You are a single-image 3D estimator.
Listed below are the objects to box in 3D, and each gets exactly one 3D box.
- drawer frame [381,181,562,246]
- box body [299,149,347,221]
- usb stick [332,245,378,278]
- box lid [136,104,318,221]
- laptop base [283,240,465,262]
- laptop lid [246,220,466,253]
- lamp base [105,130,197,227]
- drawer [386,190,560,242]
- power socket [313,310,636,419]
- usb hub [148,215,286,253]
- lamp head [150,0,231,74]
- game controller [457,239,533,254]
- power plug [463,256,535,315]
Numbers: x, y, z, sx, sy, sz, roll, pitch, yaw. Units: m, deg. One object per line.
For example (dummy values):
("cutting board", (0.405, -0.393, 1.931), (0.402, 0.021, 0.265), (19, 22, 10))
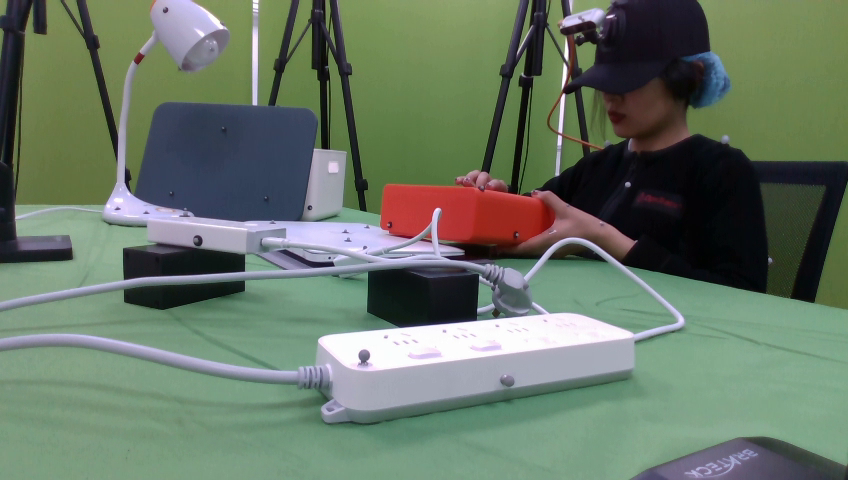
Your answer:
("drawer frame", (0.077, -0.041, 0.968), (0.200, 0.082, 0.215), (7, 3, 44))
("box body", (-0.384, -0.137, 1.407), (0.364, 0.160, 0.254), (3, 8, 7))
("usb stick", (-0.085, 0.026, 0.701), (0.059, 0.027, 0.021), (-18, 19, 27))
("box lid", (-0.411, -0.162, 1.266), (0.371, 0.263, 0.015), (3, -15, 9))
("laptop base", (-0.125, 0.002, 0.945), (0.237, 0.023, 0.352), (2, 6, -31))
("laptop lid", (-0.123, -0.009, 0.945), (0.243, 0.013, 0.355), (1, 7, -29))
("lamp base", (-0.532, -0.120, 1.153), (0.179, 0.180, 0.161), (1, 7, 8))
("drawer", (0.078, -0.040, 0.972), (0.213, 0.073, 0.193), (3, 2, -45))
("power socket", (0.039, 0.072, 0.384), (0.228, 0.032, 0.072), (-2, 7, -28))
("usb hub", (-0.197, -0.006, 0.575), (0.125, 0.025, 0.050), (6, 7, 22))
("lamp head", (-0.432, -0.374, 1.086), (0.123, 0.112, 0.112), (42, 8, -2))
("game controller", (0.105, -0.026, 1.004), (0.154, 0.051, 0.097), (7, -27, 42))
("power plug", (0.064, 0.039, 0.530), (0.072, 0.052, 0.035), (31, 43, 7))
